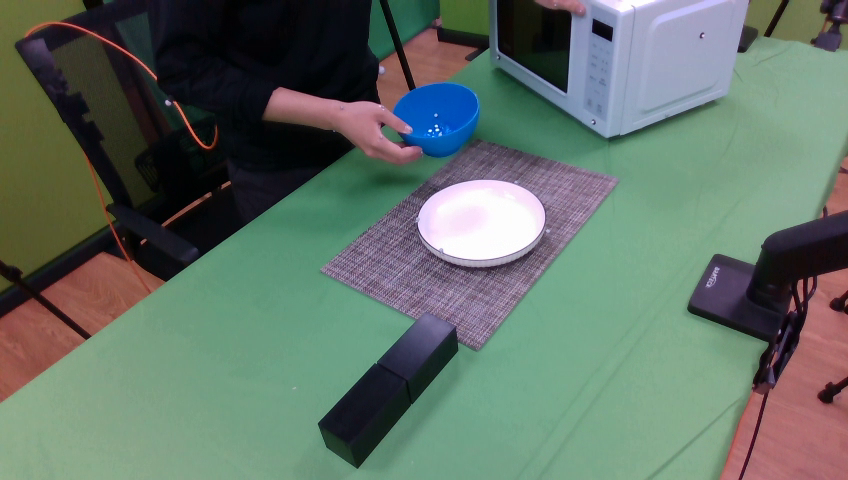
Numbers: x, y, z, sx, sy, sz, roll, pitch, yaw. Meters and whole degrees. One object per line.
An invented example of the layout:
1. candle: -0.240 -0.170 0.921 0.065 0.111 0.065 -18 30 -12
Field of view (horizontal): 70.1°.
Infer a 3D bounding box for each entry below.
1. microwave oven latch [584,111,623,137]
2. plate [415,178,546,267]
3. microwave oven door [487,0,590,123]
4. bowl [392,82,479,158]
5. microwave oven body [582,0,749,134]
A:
1. microwave oven latch: 0.337 -0.222 1.142 0.030 0.029 0.078 -21 42 -14
2. plate: 0.091 -0.026 0.970 0.207 0.039 0.206 -4 41 4
3. microwave oven door: 0.232 -0.420 1.230 0.039 0.245 0.352 -22 42 -16
4. bowl: 0.025 -0.195 1.042 0.151 0.077 0.150 -6 48 7
5. microwave oven body: 0.382 -0.444 1.246 0.327 0.261 0.437 -22 42 -16
